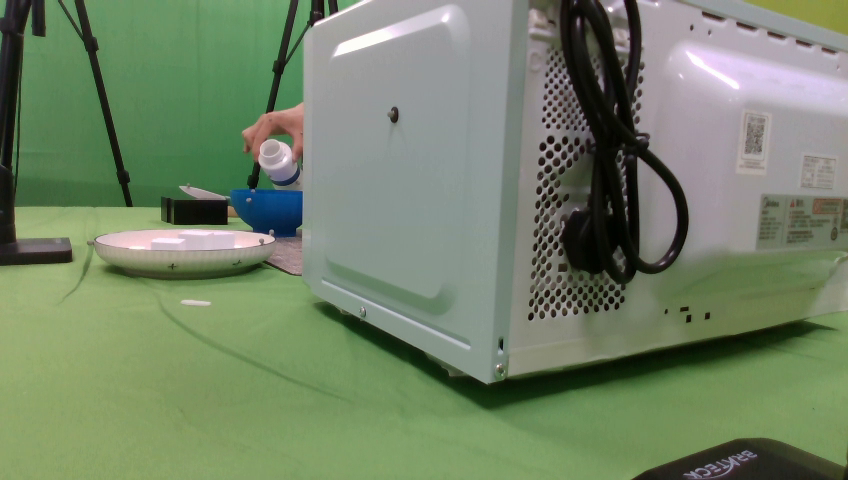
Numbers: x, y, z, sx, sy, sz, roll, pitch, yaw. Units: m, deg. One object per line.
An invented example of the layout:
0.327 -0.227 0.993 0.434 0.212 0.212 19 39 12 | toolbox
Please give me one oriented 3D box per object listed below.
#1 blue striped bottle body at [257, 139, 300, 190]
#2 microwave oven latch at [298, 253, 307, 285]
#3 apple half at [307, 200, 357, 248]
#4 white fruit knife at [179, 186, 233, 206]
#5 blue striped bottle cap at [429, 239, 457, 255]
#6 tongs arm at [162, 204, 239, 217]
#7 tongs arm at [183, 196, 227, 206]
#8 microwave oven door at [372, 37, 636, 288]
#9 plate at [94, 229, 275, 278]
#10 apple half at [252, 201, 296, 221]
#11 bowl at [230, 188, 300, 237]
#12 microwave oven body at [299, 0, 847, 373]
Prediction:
-0.270 -0.139 1.133 0.063 0.063 0.121 4 -25 10 | blue striped bottle body
-0.081 0.027 0.582 0.079 0.029 0.030 -2 7 -32 | microwave oven latch
-0.135 -0.024 0.941 0.053 0.074 0.081 13 9 39 | apple half
-0.413 -0.081 1.270 0.208 0.027 0.016 18 14 -41 | white fruit knife
0.029 0.011 0.945 0.044 0.020 0.044 -1 5 0 | blue striped bottle cap
-0.396 -0.066 1.399 0.389 0.028 0.028 1 5 -15 | tongs arm
-0.404 -0.081 1.479 0.385 0.026 0.050 3 8 -2 | tongs arm
0.110 -0.080 0.686 0.358 0.243 0.039 -2 9 -33 | microwave oven door
-0.291 0.016 0.750 0.208 0.039 0.207 2 7 0 | plate
-0.265 -0.053 1.067 0.081 0.033 0.081 3 8 0 | apple half
-0.264 -0.048 1.065 0.151 0.077 0.151 3 8 0 | bowl
0.152 -0.055 0.542 0.444 0.260 0.324 -2 7 -33 | microwave oven body
